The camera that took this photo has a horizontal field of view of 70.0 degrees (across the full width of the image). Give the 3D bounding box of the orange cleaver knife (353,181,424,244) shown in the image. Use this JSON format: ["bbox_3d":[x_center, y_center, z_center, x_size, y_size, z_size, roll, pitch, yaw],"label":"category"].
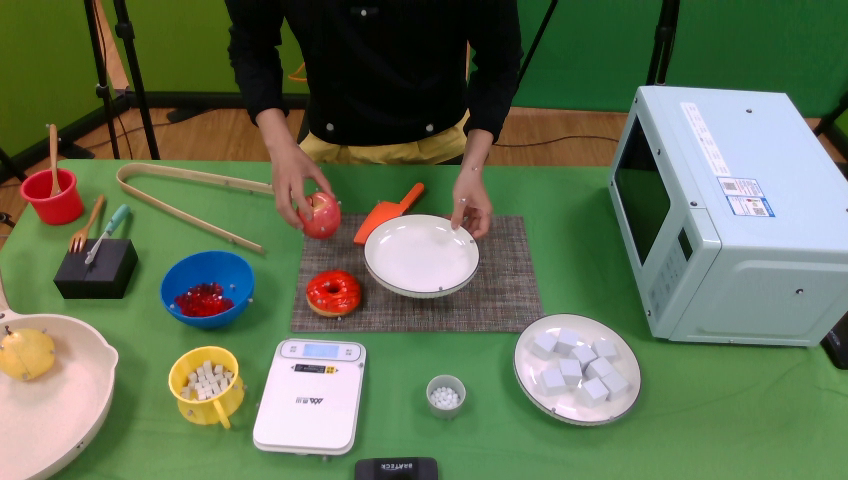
[{"bbox_3d":[-0.070,-0.059,1.245,0.077,0.012,0.210,17,50,21],"label":"orange cleaver knife"}]

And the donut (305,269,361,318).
[{"bbox_3d":[-0.160,0.095,1.075,0.099,0.048,0.098,4,44,-4],"label":"donut"}]

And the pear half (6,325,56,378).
[{"bbox_3d":[-0.608,0.158,0.935,0.076,0.110,0.056,31,51,20],"label":"pear half"}]

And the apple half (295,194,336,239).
[{"bbox_3d":[-0.202,-0.036,1.089,0.080,0.075,0.053,36,61,25],"label":"apple half"}]

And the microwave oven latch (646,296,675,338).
[{"bbox_3d":[0.412,0.134,1.061,0.030,0.029,0.078,4,45,1],"label":"microwave oven latch"}]

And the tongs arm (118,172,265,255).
[{"bbox_3d":[-0.473,-0.054,1.213,0.386,0.028,0.028,24,57,17],"label":"tongs arm"}]

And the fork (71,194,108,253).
[{"bbox_3d":[-0.634,-0.036,1.158,0.028,0.019,0.206,-8,32,-8],"label":"fork"}]

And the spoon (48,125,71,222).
[{"bbox_3d":[-0.718,-0.131,1.188,0.041,0.021,0.193,-3,90,-7],"label":"spoon"}]

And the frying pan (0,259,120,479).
[{"bbox_3d":[-0.647,0.164,0.936,0.307,0.103,0.485,-19,58,-22],"label":"frying pan"}]

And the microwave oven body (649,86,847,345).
[{"bbox_3d":[0.568,-0.053,1.118,0.326,0.261,0.439,2,45,-1],"label":"microwave oven body"}]

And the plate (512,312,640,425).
[{"bbox_3d":[0.246,0.213,0.999,0.208,0.039,0.206,2,46,-2],"label":"plate"}]

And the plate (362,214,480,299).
[{"bbox_3d":[-0.006,0.031,1.075,0.209,0.038,0.208,3,41,-2],"label":"plate"}]

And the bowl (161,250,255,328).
[{"bbox_3d":[-0.362,0.098,1.039,0.151,0.077,0.150,2,45,-2],"label":"bowl"}]

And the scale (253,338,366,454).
[{"bbox_3d":[-0.175,0.236,0.951,0.149,0.032,0.199,4,45,-1],"label":"scale"}]

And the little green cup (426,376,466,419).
[{"bbox_3d":[0.033,0.248,0.950,0.061,0.039,0.061,2,46,-2],"label":"little green cup"}]

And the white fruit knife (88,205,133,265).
[{"bbox_3d":[-0.584,-0.013,1.129,0.016,0.027,0.206,0,32,-5],"label":"white fruit knife"}]

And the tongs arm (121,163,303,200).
[{"bbox_3d":[-0.444,-0.114,1.267,0.384,0.026,0.050,12,52,8],"label":"tongs arm"}]

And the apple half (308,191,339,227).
[{"bbox_3d":[-0.176,-0.058,1.107,0.081,0.082,0.033,35,60,27],"label":"apple half"}]

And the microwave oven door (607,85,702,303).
[{"bbox_3d":[0.423,-0.094,1.140,0.039,0.245,0.353,2,46,-1],"label":"microwave oven door"}]

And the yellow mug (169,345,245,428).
[{"bbox_3d":[-0.322,0.230,0.922,0.100,0.064,0.130,-24,53,-25],"label":"yellow mug"}]

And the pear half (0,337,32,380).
[{"bbox_3d":[-0.631,0.184,0.921,0.070,0.088,0.031,29,49,19],"label":"pear half"}]
